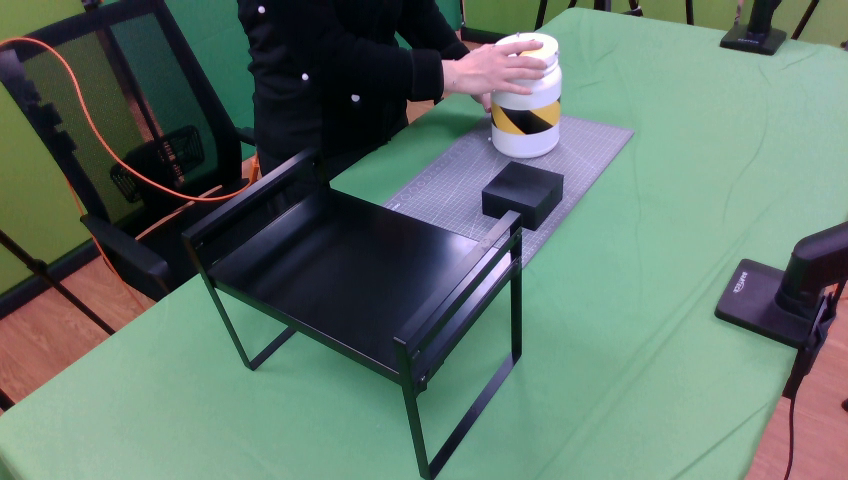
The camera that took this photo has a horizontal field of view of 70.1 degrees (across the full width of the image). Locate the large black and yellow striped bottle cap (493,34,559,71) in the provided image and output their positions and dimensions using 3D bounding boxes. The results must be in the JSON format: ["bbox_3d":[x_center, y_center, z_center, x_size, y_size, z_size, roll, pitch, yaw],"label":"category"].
[{"bbox_3d":[0.180,-0.332,1.066,0.115,0.019,0.114,-3,42,4],"label":"large black and yellow striped bottle cap"}]

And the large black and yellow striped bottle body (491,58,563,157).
[{"bbox_3d":[0.191,-0.263,1.125,0.131,0.185,0.130,-5,41,4],"label":"large black and yellow striped bottle body"}]
